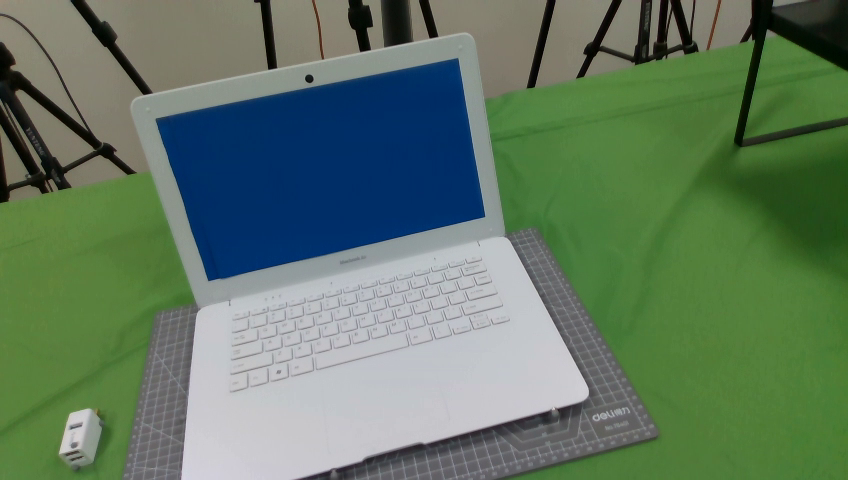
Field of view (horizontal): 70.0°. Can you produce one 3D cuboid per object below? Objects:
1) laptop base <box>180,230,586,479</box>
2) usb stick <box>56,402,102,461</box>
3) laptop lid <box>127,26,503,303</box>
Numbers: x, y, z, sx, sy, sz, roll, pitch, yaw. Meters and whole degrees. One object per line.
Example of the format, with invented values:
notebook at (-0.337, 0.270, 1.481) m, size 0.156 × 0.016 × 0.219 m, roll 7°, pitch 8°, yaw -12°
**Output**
laptop base at (-0.052, 0.104, 0.594) m, size 0.355 × 0.023 × 0.233 m, roll -14°, pitch 42°, yaw -6°
usb stick at (-0.314, 0.170, 0.556) m, size 0.021 × 0.027 × 0.058 m, roll -16°, pitch 37°, yaw -2°
laptop lid at (-0.101, -0.075, 0.645) m, size 0.357 × 0.243 × 0.013 m, roll -15°, pitch 19°, yaw -6°
